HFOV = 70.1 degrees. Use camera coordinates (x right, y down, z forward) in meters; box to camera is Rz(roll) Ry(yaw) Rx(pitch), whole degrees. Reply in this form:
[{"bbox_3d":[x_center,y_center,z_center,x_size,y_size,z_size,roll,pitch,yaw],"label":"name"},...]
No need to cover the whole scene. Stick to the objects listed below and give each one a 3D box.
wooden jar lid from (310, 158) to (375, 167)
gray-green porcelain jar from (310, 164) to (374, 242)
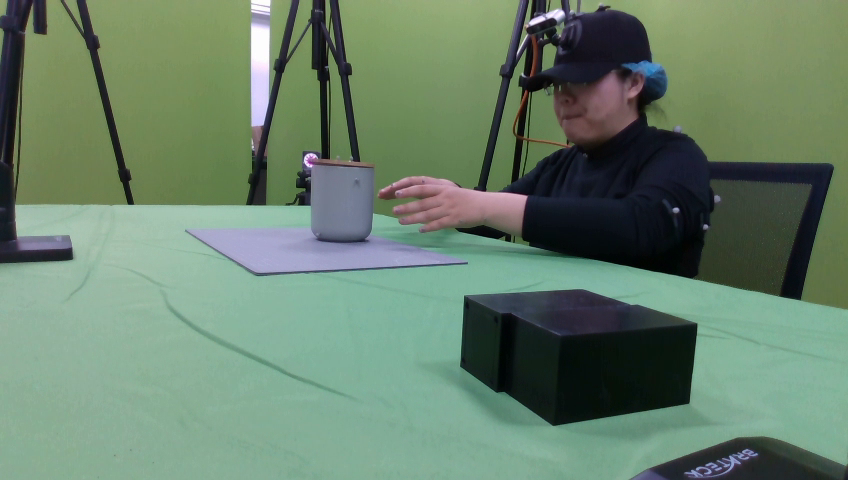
[{"bbox_3d":[-0.136,-0.125,1.015,0.108,0.020,0.108,5,8,0],"label":"wooden jar lid"},{"bbox_3d":[-0.139,-0.063,1.023,0.106,0.126,0.106,3,8,0],"label":"gray-green porcelain jar"}]
